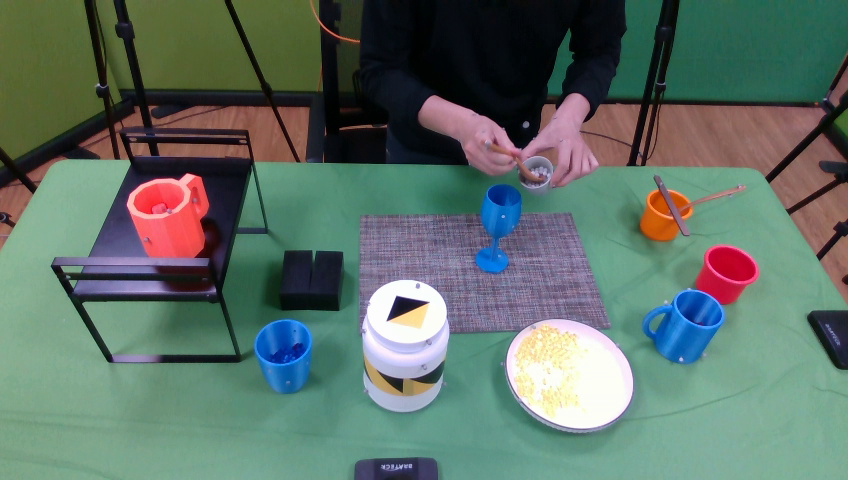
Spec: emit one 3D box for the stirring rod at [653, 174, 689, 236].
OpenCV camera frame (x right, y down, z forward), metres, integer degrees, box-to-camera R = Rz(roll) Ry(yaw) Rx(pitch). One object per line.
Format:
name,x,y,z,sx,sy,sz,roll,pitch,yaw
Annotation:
stirring rod,0.491,-0.072,1.211,0.014,0.006,0.175,-1,47,-6

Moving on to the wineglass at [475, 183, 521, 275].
wineglass,0.134,-0.020,1.115,0.074,0.173,0.073,2,46,-2

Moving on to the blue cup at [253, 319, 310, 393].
blue cup,-0.217,0.187,0.943,0.093,0.101,0.092,4,45,-3

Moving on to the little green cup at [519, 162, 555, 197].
little green cup,0.197,-0.105,1.058,0.061,0.039,0.061,-5,38,4

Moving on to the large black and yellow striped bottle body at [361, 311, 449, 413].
large black and yellow striped bottle body,-0.031,0.163,0.924,0.131,0.185,0.130,2,46,-2

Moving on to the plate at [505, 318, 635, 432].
plate,0.235,0.221,0.991,0.209,0.038,0.208,2,46,-2

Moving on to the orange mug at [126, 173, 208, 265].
orange mug,-0.371,-0.039,0.902,0.083,0.101,0.126,18,52,14

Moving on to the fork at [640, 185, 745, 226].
fork,0.534,-0.069,1.215,0.207,0.019,0.028,-26,27,33

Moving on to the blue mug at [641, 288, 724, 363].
blue mug,0.432,0.144,1.033,0.116,0.106,0.082,8,46,4

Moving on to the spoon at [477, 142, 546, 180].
spoon,0.142,-0.129,0.980,0.195,0.021,0.041,21,15,-50

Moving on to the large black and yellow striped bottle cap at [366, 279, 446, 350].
large black and yellow striped bottle cap,-0.025,0.104,0.864,0.115,0.019,0.114,3,48,-3
